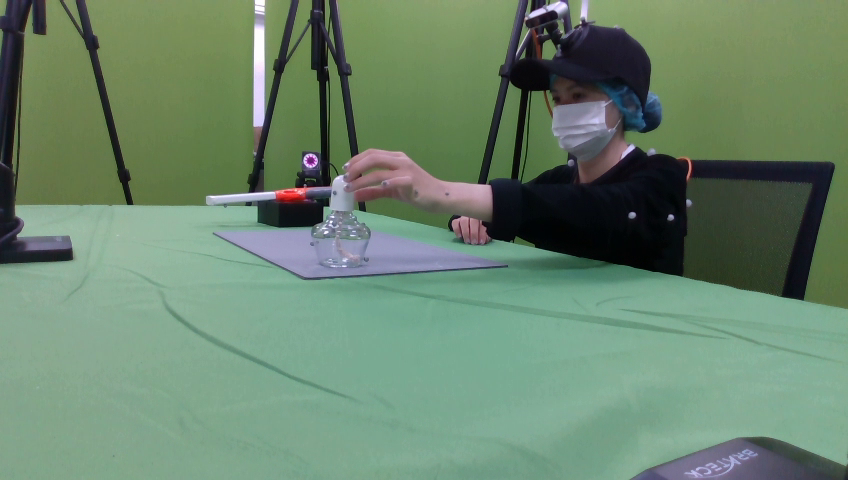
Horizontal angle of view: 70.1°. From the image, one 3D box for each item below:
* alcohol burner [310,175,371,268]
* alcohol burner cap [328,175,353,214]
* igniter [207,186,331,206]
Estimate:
[{"bbox_3d":[-0.107,-0.024,0.778,0.078,0.119,0.078,3,5,0],"label":"alcohol burner"},{"bbox_3d":[-0.106,-0.059,0.774,0.034,0.048,0.034,5,8,0],"label":"alcohol burner cap"},{"bbox_3d":[-0.300,-0.091,1.241,0.278,0.025,0.057,-8,11,-35],"label":"igniter"}]
